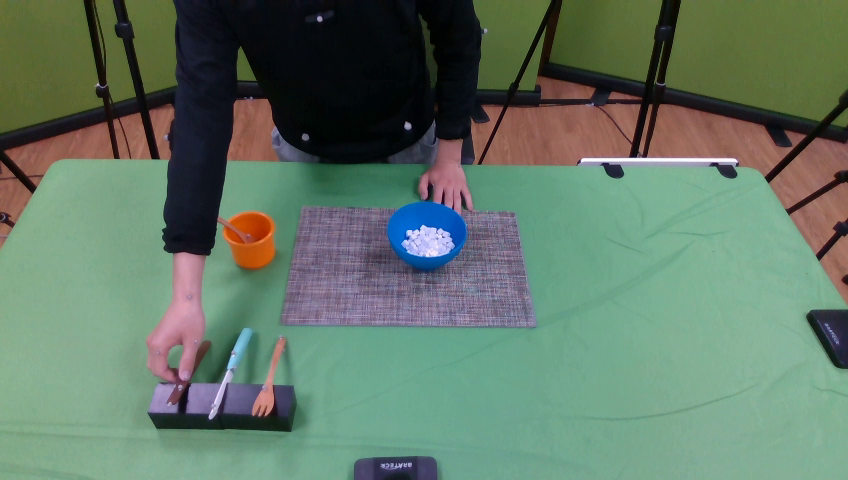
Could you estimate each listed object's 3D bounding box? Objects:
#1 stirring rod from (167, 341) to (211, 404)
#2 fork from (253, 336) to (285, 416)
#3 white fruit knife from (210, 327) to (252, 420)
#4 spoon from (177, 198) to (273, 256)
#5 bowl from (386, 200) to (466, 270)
[{"bbox_3d":[-0.361,0.201,0.938,0.014,0.006,0.175,5,20,-4],"label":"stirring rod"},{"bbox_3d":[-0.235,0.206,0.938,0.028,0.019,0.206,-3,26,-2],"label":"fork"},{"bbox_3d":[-0.298,0.200,0.938,0.016,0.027,0.206,-1,30,0],"label":"white fruit knife"},{"bbox_3d":[-0.361,-0.025,1.107,0.195,0.021,0.041,39,35,-32],"label":"spoon"},{"bbox_3d":[0.002,0.003,1.150,0.151,0.077,0.150,2,46,-2],"label":"bowl"}]
